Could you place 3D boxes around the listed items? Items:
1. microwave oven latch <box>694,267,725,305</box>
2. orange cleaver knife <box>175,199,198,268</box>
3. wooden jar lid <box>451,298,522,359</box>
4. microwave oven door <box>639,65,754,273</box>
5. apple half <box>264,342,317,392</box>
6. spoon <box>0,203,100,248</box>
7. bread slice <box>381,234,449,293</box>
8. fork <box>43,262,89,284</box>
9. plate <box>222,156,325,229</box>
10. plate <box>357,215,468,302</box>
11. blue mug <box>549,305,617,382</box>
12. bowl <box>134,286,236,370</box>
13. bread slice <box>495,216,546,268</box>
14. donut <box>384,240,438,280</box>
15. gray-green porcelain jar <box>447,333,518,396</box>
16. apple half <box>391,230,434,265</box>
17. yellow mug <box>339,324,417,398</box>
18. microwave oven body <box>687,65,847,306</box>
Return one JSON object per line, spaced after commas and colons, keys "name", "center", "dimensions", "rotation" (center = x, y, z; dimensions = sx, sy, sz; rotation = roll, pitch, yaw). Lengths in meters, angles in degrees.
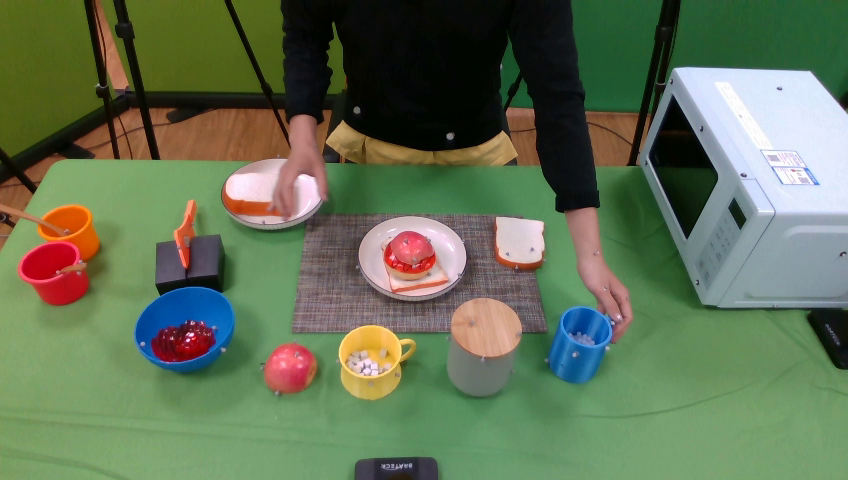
{"name": "microwave oven latch", "center": [0.524, 0.082, 1.115], "dimensions": [0.030, 0.029, 0.078], "rotation": [4, 46, 1]}
{"name": "orange cleaver knife", "center": [-0.438, -0.017, 1.138], "dimensions": [0.012, 0.077, 0.210], "rotation": [-13, 27, -7]}
{"name": "wooden jar lid", "center": [0.093, 0.135, 0.914], "dimensions": [0.108, 0.021, 0.107], "rotation": [2, 48, -3]}
{"name": "microwave oven door", "center": [0.522, -0.147, 1.193], "dimensions": [0.039, 0.245, 0.353], "rotation": [0, 47, -3]}
{"name": "apple half", "center": [-0.214, 0.198, 0.970], "dimensions": [0.074, 0.053, 0.080], "rotation": [19, 48, 10]}
{"name": "spoon", "center": [-0.683, -0.031, 1.088], "dimensions": [0.195, 0.021, 0.041], "rotation": [33, 33, -38]}
{"name": "bread slice", "center": [-0.026, 0.040, 1.141], "dimensions": [0.107, 0.018, 0.133], "rotation": [-12, 50, -16]}
{"name": "fork", "center": [-0.599, 0.053, 1.013], "dimensions": [0.207, 0.019, 0.028], "rotation": [-14, 30, 45]}
{"name": "plate", "center": [-0.308, -0.095, 1.251], "dimensions": [0.209, 0.038, 0.208], "rotation": [2, 47, -2]}
{"name": "plate", "center": [-0.022, 0.037, 1.141], "dimensions": [0.208, 0.039, 0.206], "rotation": [2, 47, -2]}
{"name": "blue mug", "center": [0.269, 0.165, 0.998], "dimensions": [0.116, 0.106, 0.082], "rotation": [-20, 51, -21]}
{"name": "bowl", "center": [-0.377, 0.155, 0.981], "dimensions": [0.151, 0.077, 0.150], "rotation": [2, 46, -2]}
{"name": "bread slice", "center": [0.194, 0.002, 1.205], "dimensions": [0.105, 0.019, 0.131], "rotation": [5, 45, 2]}
{"name": "donut", "center": [-0.025, 0.029, 1.109], "dimensions": [0.099, 0.048, 0.098], "rotation": [2, 46, -2]}
{"name": "gray-green porcelain jar", "center": [0.091, 0.178, 0.960], "dimensions": [0.106, 0.127, 0.105], "rotation": [2, 46, -2]}
{"name": "apple half", "center": [-0.021, 0.004, 1.085], "dimensions": [0.081, 0.033, 0.081], "rotation": [7, 43, -6]}
{"name": "yellow mug", "center": [-0.072, 0.190, 0.978], "dimensions": [0.131, 0.064, 0.099], "rotation": [-17, 51, -20]}
{"name": "microwave oven body", "center": [0.669, -0.111, 1.176], "dimensions": [0.326, 0.261, 0.439], "rotation": [0, 46, -3]}
